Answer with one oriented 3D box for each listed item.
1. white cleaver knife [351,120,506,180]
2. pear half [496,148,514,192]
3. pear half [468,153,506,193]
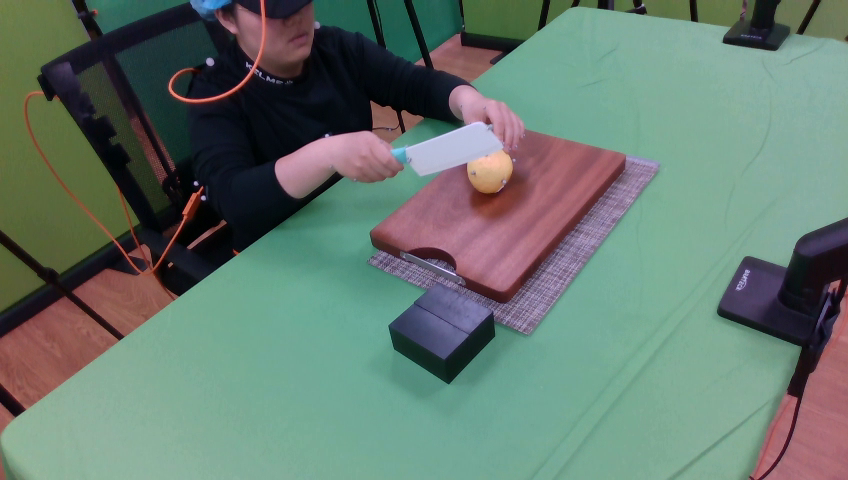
[{"bbox_3d":[-0.005,-0.121,0.915,0.284,0.066,0.021,-10,41,41],"label":"white cleaver knife"},{"bbox_3d":[0.117,-0.141,1.019,0.076,0.110,0.056,15,46,21],"label":"pear half"},{"bbox_3d":[0.101,-0.112,1.003,0.070,0.088,0.031,17,47,18],"label":"pear half"}]
